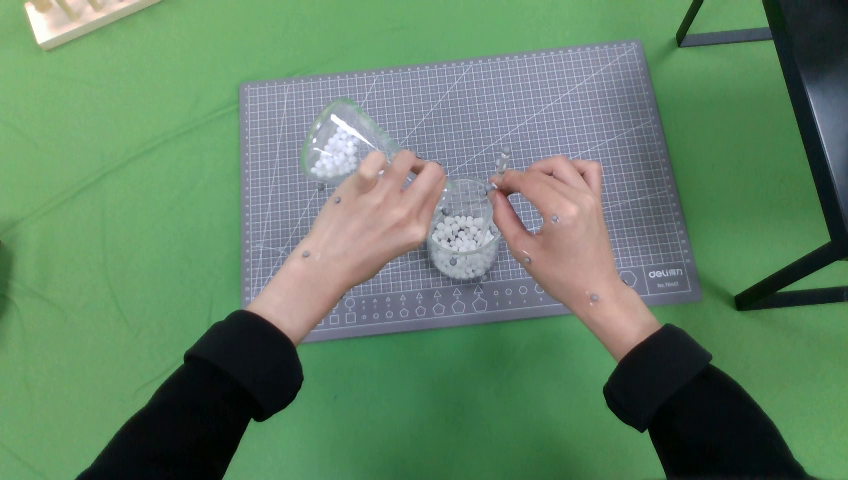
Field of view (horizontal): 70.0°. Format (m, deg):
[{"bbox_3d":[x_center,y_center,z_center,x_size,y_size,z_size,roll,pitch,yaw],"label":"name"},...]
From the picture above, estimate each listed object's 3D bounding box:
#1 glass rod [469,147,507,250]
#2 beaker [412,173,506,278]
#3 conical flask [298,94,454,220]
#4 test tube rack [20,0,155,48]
[{"bbox_3d":[0.051,-0.028,0.510,0.008,0.201,0.008,1,69,-2],"label":"glass rod"},{"bbox_3d":[0.032,-0.009,0.567,0.084,0.101,0.073,17,73,9],"label":"beaker"},{"bbox_3d":[-0.036,-0.062,0.503,0.122,0.075,0.075,29,76,3],"label":"conical flask"},{"bbox_3d":[-0.356,-0.317,0.690,0.242,0.086,0.066,-26,73,-6],"label":"test tube rack"}]
